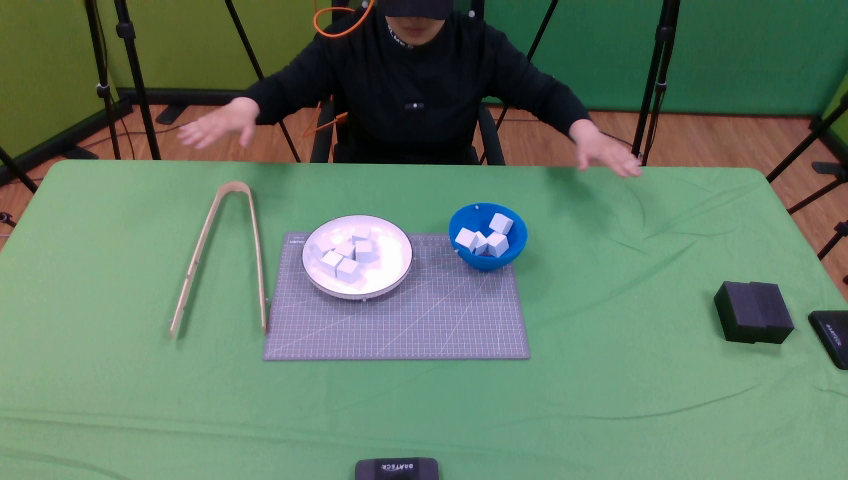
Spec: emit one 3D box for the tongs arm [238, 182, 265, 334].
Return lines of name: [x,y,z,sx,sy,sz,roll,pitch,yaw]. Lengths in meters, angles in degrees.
tongs arm: [-0.325,0.019,1.151,0.028,0.028,0.384,-11,48,-11]

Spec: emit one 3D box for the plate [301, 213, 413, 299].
plate: [-0.124,0.033,1.143,0.208,0.039,0.206,2,46,-2]

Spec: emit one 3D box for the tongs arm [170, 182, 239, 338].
tongs arm: [-0.404,0.021,1.138,0.051,0.026,0.382,1,45,-5]

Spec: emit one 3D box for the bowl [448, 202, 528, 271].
bowl: [0.118,0.006,1.160,0.151,0.077,0.150,2,46,-2]
